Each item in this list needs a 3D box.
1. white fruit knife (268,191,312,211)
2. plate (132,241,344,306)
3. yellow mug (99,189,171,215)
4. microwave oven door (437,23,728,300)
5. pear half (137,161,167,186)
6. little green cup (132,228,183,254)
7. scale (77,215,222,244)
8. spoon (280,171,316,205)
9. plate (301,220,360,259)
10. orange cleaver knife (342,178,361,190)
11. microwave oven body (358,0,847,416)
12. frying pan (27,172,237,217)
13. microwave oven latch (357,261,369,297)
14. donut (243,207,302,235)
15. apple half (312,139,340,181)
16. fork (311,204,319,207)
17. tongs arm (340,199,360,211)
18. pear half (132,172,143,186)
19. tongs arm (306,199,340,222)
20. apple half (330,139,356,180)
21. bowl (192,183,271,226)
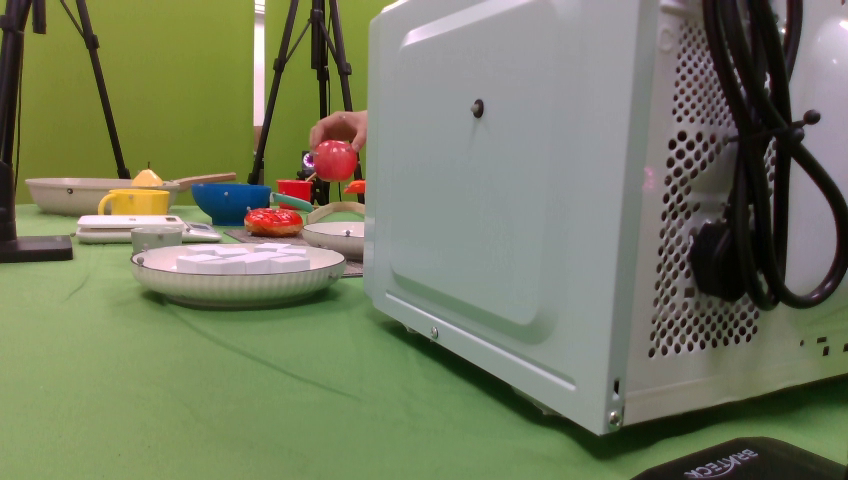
[{"bbox_3d":[-0.364,-0.105,1.464,0.208,0.027,0.016,15,0,-34],"label":"white fruit knife"},{"bbox_3d":[-0.187,0.033,0.625,0.208,0.039,0.207,2,8,0],"label":"plate"},{"bbox_3d":[-0.518,-0.055,1.080,0.099,0.064,0.131,7,9,26],"label":"yellow mug"},{"bbox_3d":[0.180,-0.072,0.621,0.358,0.243,0.039,-2,8,-29],"label":"microwave oven door"},{"bbox_3d":[-0.602,-0.120,1.354,0.056,0.110,0.076,4,11,6],"label":"pear half"},{"bbox_3d":[-0.342,0.006,0.779,0.061,0.038,0.061,2,8,0],"label":"little green cup"},{"bbox_3d":[-0.434,-0.019,0.963,0.202,0.031,0.148,-1,9,-27],"label":"scale"},{"bbox_3d":[-0.316,-0.159,1.640,0.194,0.022,0.041,-50,31,-20],"label":"spoon"},{"bbox_3d":[-0.077,-0.002,0.893,0.209,0.038,0.209,3,8,0],"label":"plate"},{"bbox_3d":[-0.042,-0.105,1.086,0.212,0.012,0.077,-6,-8,-10],"label":"orange cleaver knife"},{"bbox_3d":[0.211,-0.047,0.474,0.444,0.260,0.324,-1,7,-28],"label":"microwave oven body"},{"bbox_3d":[-0.624,-0.118,1.387,0.305,0.102,0.490,8,17,32],"label":"frying pan"},{"bbox_3d":[-0.019,0.033,0.530,0.079,0.029,0.030,-1,7,-26],"label":"microwave oven latch"},{"bbox_3d":[-0.261,-0.032,1.043,0.099,0.048,0.099,4,9,0],"label":"donut"},{"bbox_3d":[-0.181,-0.148,1.130,0.053,0.074,0.081,-2,2,16],"label":"apple half"},{"bbox_3d":[-0.356,-0.105,1.526,0.208,0.018,0.028,16,-6,-41],"label":"fork"},{"bbox_3d":[-0.149,-0.071,1.429,0.051,0.026,0.383,-4,9,-15],"label":"tongs arm"},{"bbox_3d":[-0.638,-0.113,1.361,0.031,0.088,0.070,5,11,4],"label":"pear half"},{"bbox_3d":[-0.235,-0.068,1.414,0.028,0.028,0.387,-5,8,1],"label":"tongs arm"},{"bbox_3d":[-0.144,-0.149,1.120,0.032,0.081,0.081,-4,6,17],"label":"apple half"},{"bbox_3d":[-0.382,-0.071,1.202,0.151,0.077,0.151,3,7,0],"label":"bowl"}]
